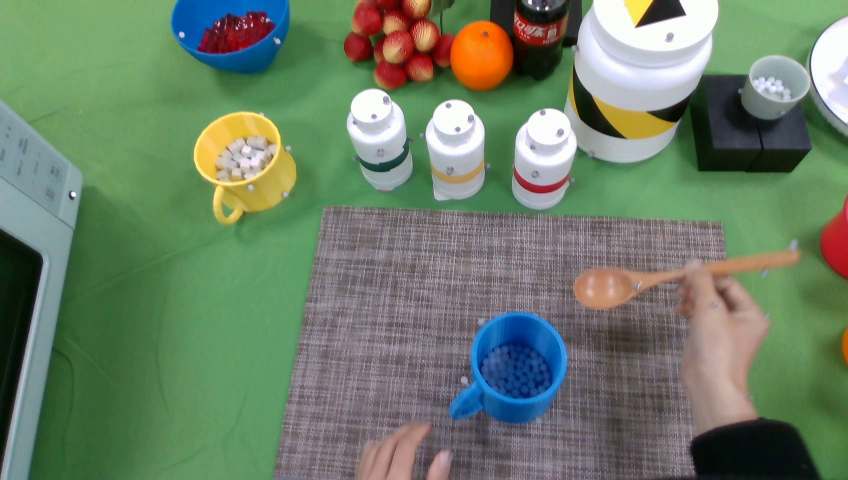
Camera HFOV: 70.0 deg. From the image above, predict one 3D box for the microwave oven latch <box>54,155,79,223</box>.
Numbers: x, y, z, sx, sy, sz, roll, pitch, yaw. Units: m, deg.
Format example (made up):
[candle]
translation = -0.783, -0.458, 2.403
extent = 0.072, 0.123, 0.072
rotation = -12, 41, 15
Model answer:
[microwave oven latch]
translation = -0.429, -0.059, 0.711
extent = 0.030, 0.030, 0.078
rotation = -4, 66, 3

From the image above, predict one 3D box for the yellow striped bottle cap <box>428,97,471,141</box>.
[yellow striped bottle cap]
translation = 0.026, -0.124, 0.618
extent = 0.044, 0.019, 0.044
rotation = 0, 62, 0

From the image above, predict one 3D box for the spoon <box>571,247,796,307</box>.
[spoon]
translation = 0.233, 0.031, 0.558
extent = 0.193, 0.022, 0.041
rotation = -13, 65, 25

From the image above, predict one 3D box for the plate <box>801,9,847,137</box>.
[plate]
translation = 0.544, -0.184, 0.703
extent = 0.209, 0.038, 0.207
rotation = -2, 66, 4

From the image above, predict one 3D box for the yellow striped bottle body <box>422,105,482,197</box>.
[yellow striped bottle body]
translation = 0.032, -0.102, 0.665
extent = 0.063, 0.121, 0.062
rotation = -2, 65, 5

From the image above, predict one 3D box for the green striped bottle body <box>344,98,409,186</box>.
[green striped bottle body]
translation = -0.053, -0.115, 0.679
extent = 0.063, 0.120, 0.062
rotation = -2, 65, 4

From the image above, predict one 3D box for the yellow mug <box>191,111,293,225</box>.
[yellow mug]
translation = -0.216, -0.079, 0.706
extent = 0.100, 0.064, 0.130
rotation = 12, 68, 10

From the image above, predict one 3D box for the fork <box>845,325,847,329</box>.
[fork]
translation = 0.464, 0.110, 0.516
extent = 0.028, 0.019, 0.205
rotation = -33, 23, -9

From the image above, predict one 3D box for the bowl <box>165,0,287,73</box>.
[bowl]
translation = -0.244, -0.274, 0.790
extent = 0.151, 0.077, 0.150
rotation = -2, 66, 4

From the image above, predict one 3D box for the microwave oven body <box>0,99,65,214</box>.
[microwave oven body]
translation = -0.571, 0.076, 0.556
extent = 0.326, 0.262, 0.438
rotation = -6, 66, 2

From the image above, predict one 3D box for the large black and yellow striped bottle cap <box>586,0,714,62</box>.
[large black and yellow striped bottle cap]
translation = 0.213, -0.220, 0.575
extent = 0.115, 0.019, 0.114
rotation = -2, 64, 5

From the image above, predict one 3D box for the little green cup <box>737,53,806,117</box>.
[little green cup]
translation = 0.371, -0.165, 0.653
extent = 0.061, 0.039, 0.061
rotation = -1, 64, 2

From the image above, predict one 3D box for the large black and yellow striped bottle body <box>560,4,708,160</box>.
[large black and yellow striped bottle body]
translation = 0.222, -0.186, 0.652
extent = 0.131, 0.185, 0.129
rotation = -2, 65, 5

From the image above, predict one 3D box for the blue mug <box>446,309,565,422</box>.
[blue mug]
translation = 0.070, 0.128, 0.562
extent = 0.116, 0.107, 0.081
rotation = -32, 66, -9

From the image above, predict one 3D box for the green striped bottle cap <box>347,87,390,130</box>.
[green striped bottle cap]
translation = -0.058, -0.137, 0.632
extent = 0.044, 0.020, 0.044
rotation = -2, 64, 4

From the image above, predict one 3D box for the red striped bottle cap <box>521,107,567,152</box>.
[red striped bottle cap]
translation = 0.120, -0.111, 0.604
extent = 0.044, 0.018, 0.044
rotation = 0, 65, 1

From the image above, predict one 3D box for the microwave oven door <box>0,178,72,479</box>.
[microwave oven door]
translation = -0.423, 0.098, 0.529
extent = 0.039, 0.246, 0.353
rotation = -6, 65, 3

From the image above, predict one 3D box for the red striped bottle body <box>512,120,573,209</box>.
[red striped bottle body]
translation = 0.126, -0.088, 0.651
extent = 0.063, 0.121, 0.062
rotation = -3, 64, 7
